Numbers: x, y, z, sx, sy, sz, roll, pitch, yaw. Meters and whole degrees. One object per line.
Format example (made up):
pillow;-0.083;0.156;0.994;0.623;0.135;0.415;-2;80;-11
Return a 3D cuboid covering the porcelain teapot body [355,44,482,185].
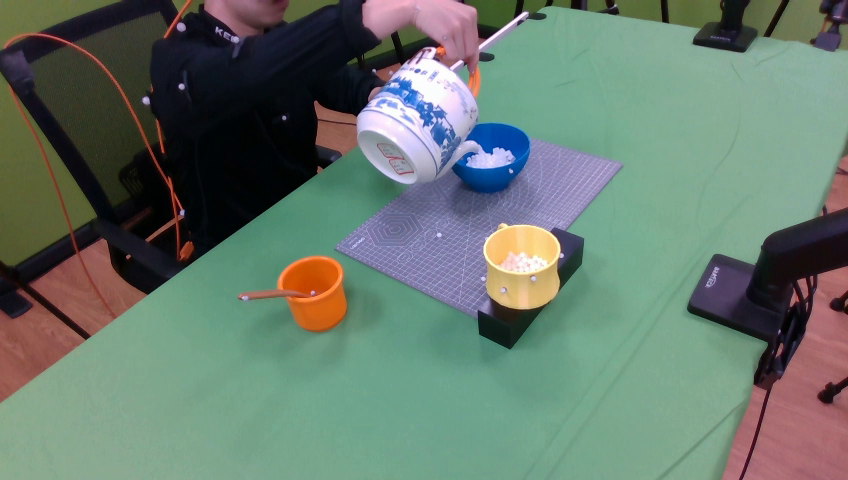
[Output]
porcelain teapot body;0.020;-0.183;0.939;0.144;0.207;0.225;17;62;40

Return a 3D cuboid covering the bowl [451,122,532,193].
bowl;0.113;-0.136;1.063;0.151;0.077;0.150;-4;41;4

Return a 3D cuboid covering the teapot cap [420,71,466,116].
teapot cap;0.031;-0.230;0.933;0.084;0.085;0.044;21;62;29

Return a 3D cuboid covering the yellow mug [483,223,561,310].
yellow mug;0.125;0.025;0.811;0.100;0.064;0.130;-16;39;-10

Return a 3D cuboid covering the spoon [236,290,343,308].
spoon;-0.176;0.076;0.808;0.041;0.195;0.021;23;93;30
